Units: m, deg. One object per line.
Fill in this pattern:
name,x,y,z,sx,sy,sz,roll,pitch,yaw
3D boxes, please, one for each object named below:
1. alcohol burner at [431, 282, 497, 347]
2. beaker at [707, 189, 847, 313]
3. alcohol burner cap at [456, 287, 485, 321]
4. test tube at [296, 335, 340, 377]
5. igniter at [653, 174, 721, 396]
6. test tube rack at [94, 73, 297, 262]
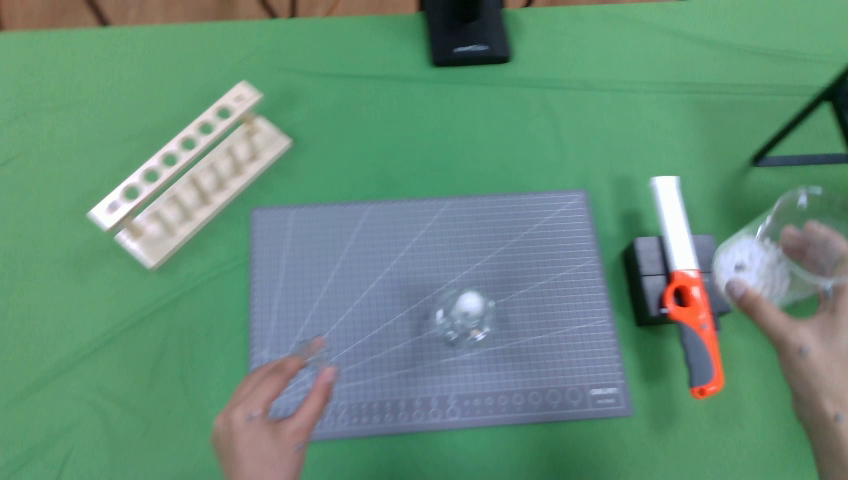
alcohol burner,0.048,0.080,0.695,0.078,0.120,0.077,2,67,-4
beaker,0.280,0.015,0.485,0.084,0.101,0.073,-2,69,-4
alcohol burner cap,0.052,0.068,0.661,0.034,0.048,0.033,-1,70,4
test tube,-0.089,0.103,0.524,0.017,0.151,0.017,0,70,0
igniter,0.312,0.046,0.724,0.057,0.025,0.274,0,68,-1
test tube rack,-0.274,-0.090,0.755,0.066,0.085,0.242,40,72,11
